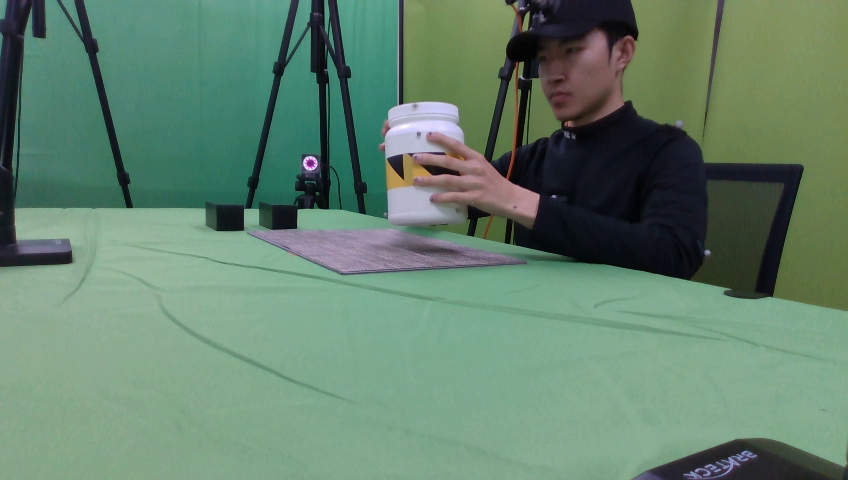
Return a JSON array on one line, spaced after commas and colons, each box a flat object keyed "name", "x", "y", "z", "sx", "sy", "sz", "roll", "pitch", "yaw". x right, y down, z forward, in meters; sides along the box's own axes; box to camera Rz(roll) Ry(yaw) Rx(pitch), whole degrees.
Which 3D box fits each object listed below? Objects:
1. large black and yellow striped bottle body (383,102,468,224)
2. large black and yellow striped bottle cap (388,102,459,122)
[{"name": "large black and yellow striped bottle body", "x": 0.002, "y": -0.120, "z": 0.977, "sx": 0.131, "sy": 0.183, "sz": 0.131, "roll": -3, "pitch": 0, "yaw": 0}, {"name": "large black and yellow striped bottle cap", "x": -0.001, "y": -0.203, "z": 0.977, "sx": 0.115, "sy": 0.019, "sz": 0.115, "roll": -4, "pitch": 0, "yaw": 0}]
